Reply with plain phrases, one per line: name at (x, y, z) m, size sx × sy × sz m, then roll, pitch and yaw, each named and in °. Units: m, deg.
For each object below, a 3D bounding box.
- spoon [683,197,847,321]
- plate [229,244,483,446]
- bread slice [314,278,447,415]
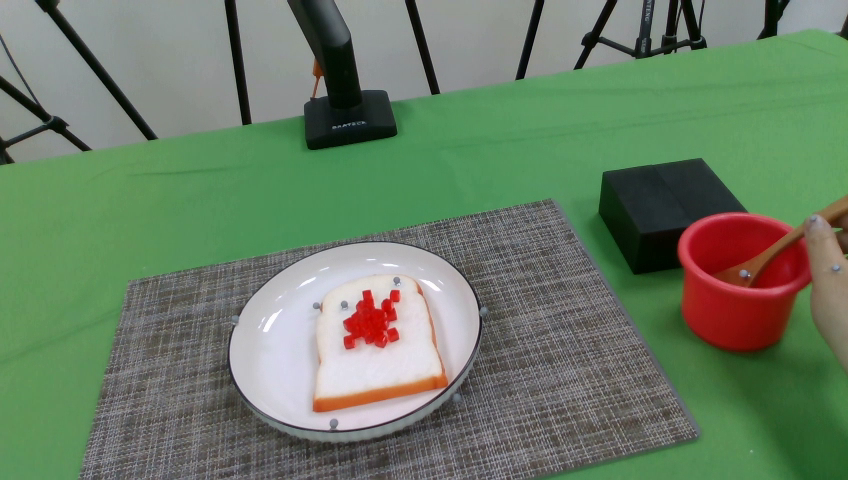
spoon at (0.282, 0.005, 0.463) m, size 0.022 × 0.194 × 0.041 m, roll 28°, pitch 37°, yaw -17°
plate at (-0.055, 0.083, 0.509) m, size 0.209 × 0.038 × 0.207 m, roll -4°, pitch 40°, yaw 4°
bread slice at (-0.043, 0.082, 0.512) m, size 0.105 × 0.019 × 0.130 m, roll -9°, pitch 41°, yaw -4°
